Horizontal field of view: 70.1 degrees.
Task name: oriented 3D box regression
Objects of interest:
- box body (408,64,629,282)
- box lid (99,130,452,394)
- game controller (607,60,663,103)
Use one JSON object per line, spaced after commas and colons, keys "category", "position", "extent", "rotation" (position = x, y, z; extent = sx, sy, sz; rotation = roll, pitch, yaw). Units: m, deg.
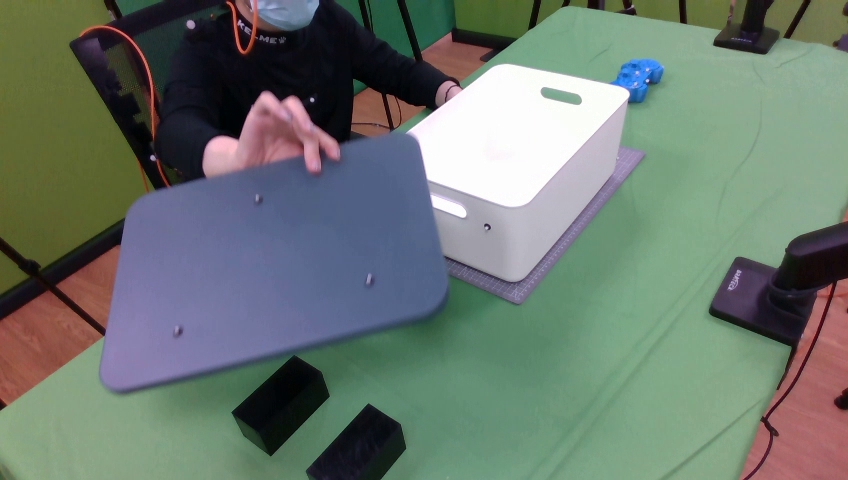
{"category": "box body", "position": [0.137, -0.121, 0.978], "extent": [0.252, 0.161, 0.365], "rotation": [22, 48, 30]}
{"category": "box lid", "position": [-0.164, 0.010, 0.663], "extent": [0.371, 0.015, 0.261], "rotation": [-14, 53, 3]}
{"category": "game controller", "position": [0.442, -0.344, 1.288], "extent": [0.096, 0.052, 0.155], "rotation": [25, 50, 27]}
